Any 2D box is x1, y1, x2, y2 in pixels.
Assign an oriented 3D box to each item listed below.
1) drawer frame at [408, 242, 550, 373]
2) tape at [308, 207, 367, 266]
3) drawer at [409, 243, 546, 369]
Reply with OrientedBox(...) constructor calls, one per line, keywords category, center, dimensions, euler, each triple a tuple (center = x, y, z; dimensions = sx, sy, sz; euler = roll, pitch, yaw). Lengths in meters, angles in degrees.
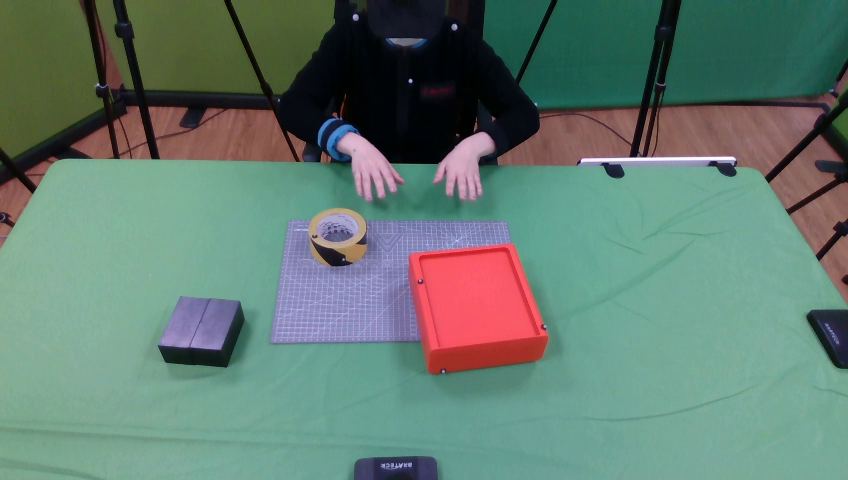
OrientedBox(category="drawer frame", center=(0.087, 0.111, 1.051), dimensions=(0.202, 0.083, 0.212), euler=(-6, 48, -10))
OrientedBox(category="tape", center=(-0.167, -0.008, 1.167), dimensions=(0.117, 0.053, 0.116), euler=(3, 46, -3))
OrientedBox(category="drawer", center=(0.085, 0.110, 1.053), dimensions=(0.195, 0.073, 0.210), euler=(-5, 47, -10))
